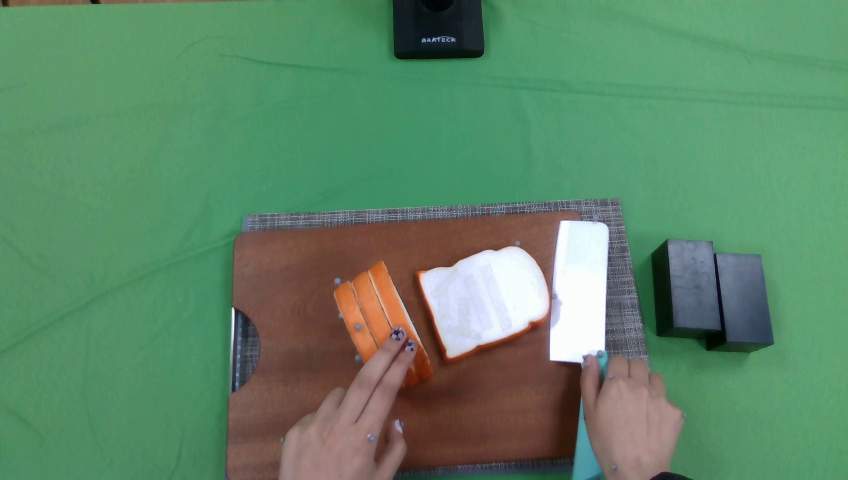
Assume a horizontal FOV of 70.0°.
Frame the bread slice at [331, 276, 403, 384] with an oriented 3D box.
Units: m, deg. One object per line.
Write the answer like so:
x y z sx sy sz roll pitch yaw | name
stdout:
-0.057 0.088 0.592 0.019 0.132 0.104 -28 71 -3 | bread slice

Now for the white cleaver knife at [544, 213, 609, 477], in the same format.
0.163 0.103 0.649 0.065 0.022 0.284 -2 67 24 | white cleaver knife

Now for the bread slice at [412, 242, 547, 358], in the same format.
0.065 0.060 0.657 0.134 0.018 0.106 -16 75 -2 | bread slice
